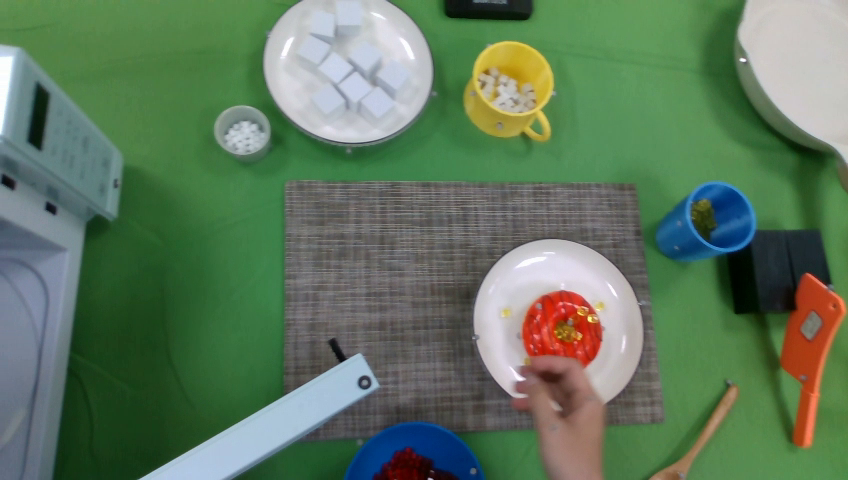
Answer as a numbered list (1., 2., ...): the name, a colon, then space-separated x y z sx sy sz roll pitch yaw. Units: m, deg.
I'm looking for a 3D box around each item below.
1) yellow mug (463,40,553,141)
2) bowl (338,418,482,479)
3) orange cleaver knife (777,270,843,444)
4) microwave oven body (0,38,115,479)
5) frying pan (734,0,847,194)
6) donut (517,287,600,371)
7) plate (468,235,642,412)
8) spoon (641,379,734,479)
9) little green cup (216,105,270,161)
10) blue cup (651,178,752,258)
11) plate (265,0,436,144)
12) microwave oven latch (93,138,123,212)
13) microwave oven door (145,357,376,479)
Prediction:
1. yellow mug: 0.115 -0.179 0.766 0.100 0.064 0.130 -38 86 -14
2. bowl: -0.018 0.264 0.645 0.152 0.077 0.150 2 78 -7
3. orange cleaver knife: 0.459 0.143 0.736 0.012 0.076 0.212 -1 107 -8
4. microwave oven body: -0.493 0.071 0.522 0.327 0.260 0.439 3 78 -8
5. frying pan: 0.557 -0.156 0.803 0.307 0.103 0.484 5 69 -6
6. donut: 0.157 0.104 0.709 0.099 0.048 0.098 1 81 -7
7. plate: 0.153 0.098 0.721 0.209 0.038 0.208 2 78 -7
8. spoon: 0.322 0.241 0.726 0.041 0.022 0.193 39 75 19
9. little green cup: -0.213 -0.125 0.720 0.062 0.039 0.061 2 78 -9
10. blue cup: 0.331 -0.018 0.743 0.093 0.100 0.092 2 76 -8
11. plate: -0.090 -0.215 0.759 0.208 0.039 0.206 2 78 -7
12. microwave oven latch: -0.355 -0.073 0.671 0.030 0.029 0.079 4 78 -7
13. microwave oven door: -0.207 0.205 0.528 0.356 0.244 0.039 -29 83 -13
